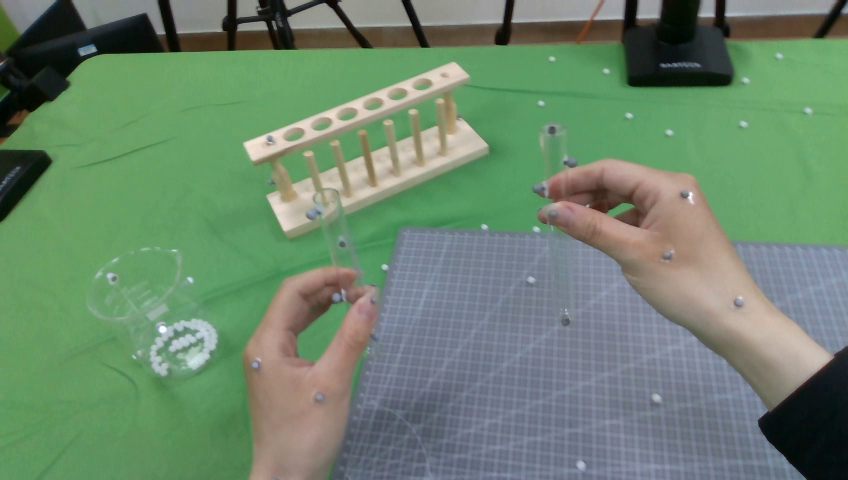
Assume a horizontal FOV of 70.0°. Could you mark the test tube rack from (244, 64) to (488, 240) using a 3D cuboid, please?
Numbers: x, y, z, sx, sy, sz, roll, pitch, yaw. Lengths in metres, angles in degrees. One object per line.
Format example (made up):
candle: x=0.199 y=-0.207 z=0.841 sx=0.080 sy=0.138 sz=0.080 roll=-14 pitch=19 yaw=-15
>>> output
test tube rack: x=-0.055 y=-0.096 z=0.644 sx=0.242 sy=0.086 sz=0.066 roll=-24 pitch=49 yaw=-13

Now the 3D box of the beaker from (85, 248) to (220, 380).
beaker: x=-0.222 y=0.065 z=0.516 sx=0.073 sy=0.101 sz=0.084 roll=26 pitch=56 yaw=28

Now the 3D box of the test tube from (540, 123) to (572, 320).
test tube: x=0.088 y=-0.005 z=0.399 sx=0.017 sy=0.151 sz=0.017 roll=-8 pitch=34 yaw=5

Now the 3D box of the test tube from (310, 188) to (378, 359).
test tube: x=-0.049 y=0.029 z=0.393 sx=0.017 sy=0.152 sz=0.017 roll=-5 pitch=43 yaw=5
